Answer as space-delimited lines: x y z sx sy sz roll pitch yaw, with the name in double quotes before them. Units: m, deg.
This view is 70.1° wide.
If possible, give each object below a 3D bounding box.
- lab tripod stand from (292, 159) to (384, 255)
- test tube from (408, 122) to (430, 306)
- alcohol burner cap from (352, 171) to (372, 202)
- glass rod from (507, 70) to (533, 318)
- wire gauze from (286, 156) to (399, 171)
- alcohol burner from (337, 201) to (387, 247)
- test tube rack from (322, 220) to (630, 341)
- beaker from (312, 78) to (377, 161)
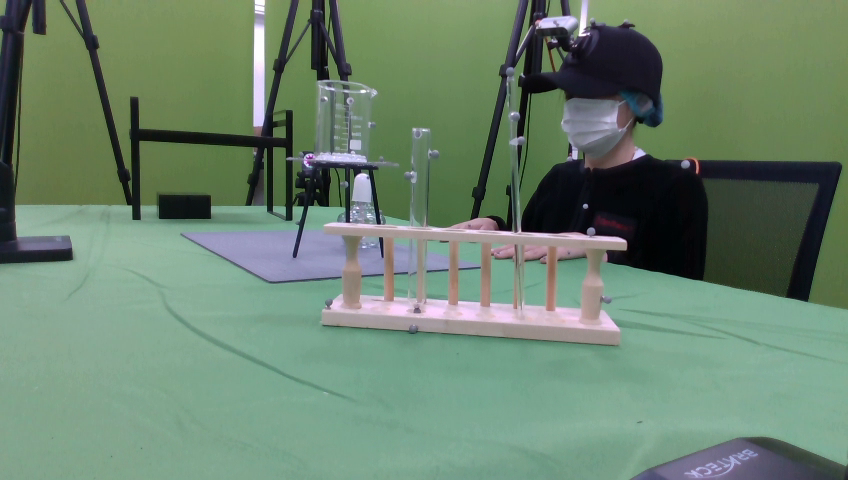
"lab tripod stand" -0.105 -0.039 0.797 0.148 0.131 0.148 2 5 0
"test tube" -0.004 -0.019 0.489 0.017 0.150 0.017 1 11 0
"alcohol burner cap" -0.096 -0.084 0.951 0.034 0.048 0.034 6 5 0
"glass rod" 0.076 -0.031 0.476 0.008 0.199 0.008 -6 12 2
"wire gauze" -0.101 -0.103 0.788 0.121 0.011 0.125 5 4 6
"alcohol burner" -0.098 -0.049 0.954 0.078 0.119 0.078 0 6 0
"test tube rack" 0.041 0.029 0.512 0.242 0.085 0.067 3 7 5
"beaker" -0.103 -0.151 0.776 0.084 0.100 0.074 5 7 14
